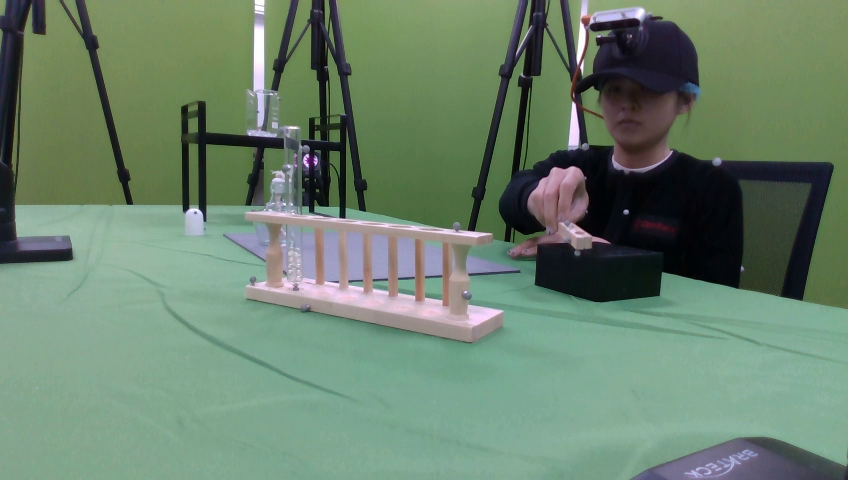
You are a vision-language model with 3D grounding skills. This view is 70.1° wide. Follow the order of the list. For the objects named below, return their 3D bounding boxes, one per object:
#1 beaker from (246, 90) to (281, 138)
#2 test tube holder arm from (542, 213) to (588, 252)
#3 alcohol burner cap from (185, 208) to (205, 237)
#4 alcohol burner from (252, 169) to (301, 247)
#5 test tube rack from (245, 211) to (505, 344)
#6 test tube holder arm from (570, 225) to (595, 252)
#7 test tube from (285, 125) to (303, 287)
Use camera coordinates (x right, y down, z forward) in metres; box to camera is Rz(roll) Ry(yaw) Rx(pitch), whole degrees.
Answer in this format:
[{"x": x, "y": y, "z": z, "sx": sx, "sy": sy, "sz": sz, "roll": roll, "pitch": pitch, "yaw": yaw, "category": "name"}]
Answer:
[{"x": -0.354, "y": -0.275, "z": 1.322, "sx": 0.074, "sy": 0.100, "sz": 0.084, "roll": 4, "pitch": 8, "yaw": 12, "category": "beaker"}, {"x": 0.160, "y": -0.013, "z": 0.699, "sx": 0.013, "sy": 0.015, "sz": 0.178, "roll": 7, "pitch": 11, "yaw": -4, "category": "test tube holder arm"}, {"x": -0.391, "y": -0.031, "z": 1.032, "sx": 0.034, "sy": 0.048, "sz": 0.034, "roll": 3, "pitch": 8, "yaw": 0, "category": "alcohol burner cap"}, {"x": -0.227, "y": -0.050, "z": 0.936, "sx": 0.078, "sy": 0.119, "sz": 0.078, "roll": 1, "pitch": 7, "yaw": 0, "category": "alcohol burner"}, {"x": -0.049, "y": 0.025, "z": 0.547, "sx": 0.241, "sy": 0.085, "sz": 0.067, "roll": 7, "pitch": 8, "yaw": 29, "category": "test tube rack"}, {"x": 0.167, "y": -0.003, "z": 0.655, "sx": 0.010, "sy": 0.015, "sz": 0.087, "roll": 7, "pitch": 11, "yaw": -3, "category": "test tube holder arm"}, {"x": -0.120, "y": -0.030, "z": 0.558, "sx": 0.017, "sy": 0.150, "sz": 0.017, "roll": 2, "pitch": 10, "yaw": 0, "category": "test tube"}]
